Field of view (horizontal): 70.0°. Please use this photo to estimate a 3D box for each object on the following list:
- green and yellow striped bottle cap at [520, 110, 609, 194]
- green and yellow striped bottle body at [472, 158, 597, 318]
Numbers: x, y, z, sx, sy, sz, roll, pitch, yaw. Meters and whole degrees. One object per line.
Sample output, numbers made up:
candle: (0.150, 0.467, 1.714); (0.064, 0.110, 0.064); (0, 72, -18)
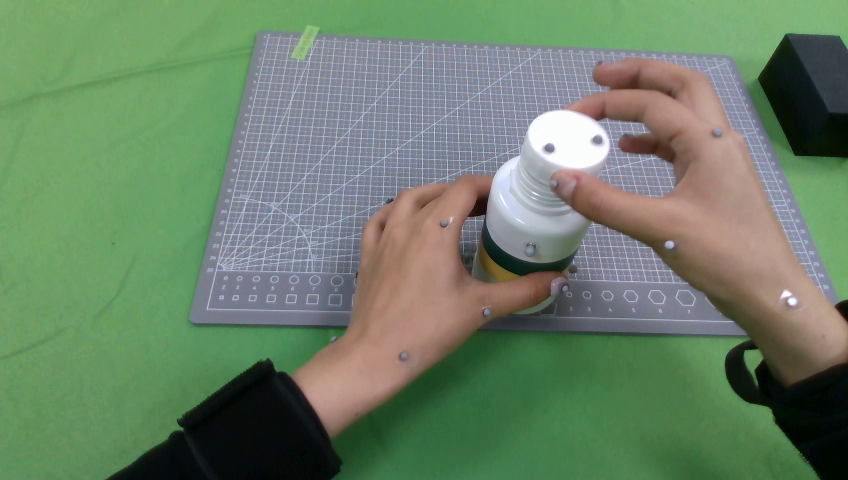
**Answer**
green and yellow striped bottle cap: (0.074, -0.047, 0.320); (0.045, 0.020, 0.045); (3, 56, -4)
green and yellow striped bottle body: (0.067, -0.006, 0.378); (0.063, 0.120, 0.062); (2, 55, -2)
